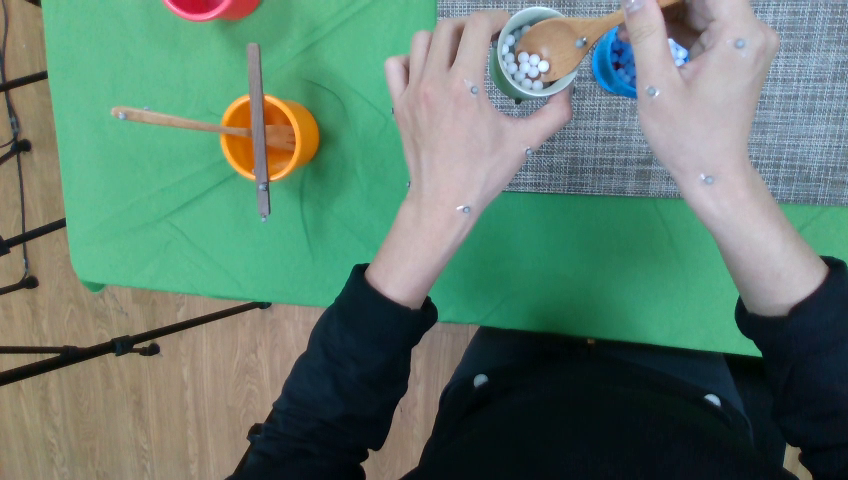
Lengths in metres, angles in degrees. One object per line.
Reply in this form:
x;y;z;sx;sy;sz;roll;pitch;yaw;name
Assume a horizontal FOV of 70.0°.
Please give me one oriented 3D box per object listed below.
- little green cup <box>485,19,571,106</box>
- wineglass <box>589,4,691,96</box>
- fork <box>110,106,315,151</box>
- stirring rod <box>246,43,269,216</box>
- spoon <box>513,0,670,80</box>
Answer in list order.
0.076;-0.132;0.447;0.061;0.038;0.062;1;114;2;little green cup
0.182;-0.162;0.529;0.073;0.172;0.074;3;104;11;wineglass
-0.214;-0.118;0.638;0.209;0.018;0.028;3;117;-34;fork
-0.172;-0.112;0.629;0.014;0.006;0.177;3;105;11;stirring rod
0.125;-0.139;0.363;0.193;0.021;0.042;-7;113;57;spoon
